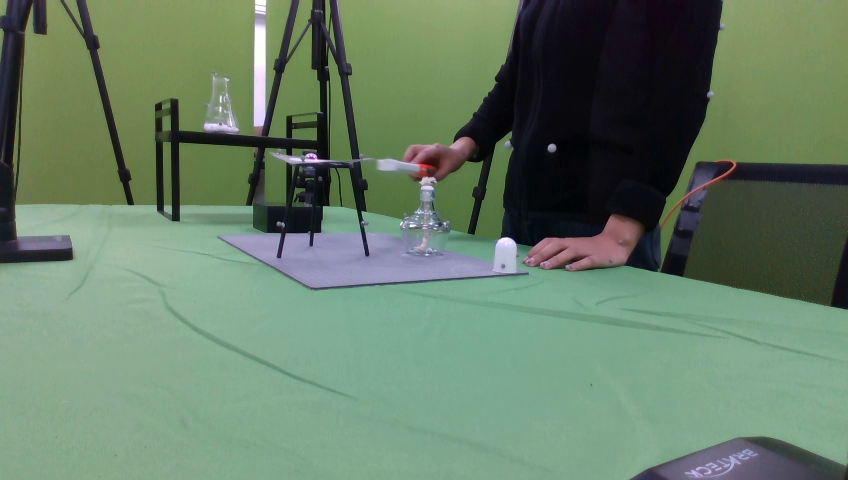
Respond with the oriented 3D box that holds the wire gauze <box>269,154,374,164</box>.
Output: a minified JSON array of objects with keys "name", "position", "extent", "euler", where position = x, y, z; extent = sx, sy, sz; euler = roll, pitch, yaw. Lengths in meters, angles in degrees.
[{"name":"wire gauze","position":[-0.146,-0.114,0.860],"extent":[0.122,0.011,0.124],"euler":[-2,9,-28]}]

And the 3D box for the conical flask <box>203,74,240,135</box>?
[{"name":"conical flask","position":[-0.425,-0.284,1.271],"extent":[0.075,0.122,0.075],"euler":[3,7,0]}]

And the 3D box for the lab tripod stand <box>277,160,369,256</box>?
[{"name":"lab tripod stand","position":[-0.150,-0.046,0.861],"extent":[0.148,0.131,0.148],"euler":[3,9,0]}]

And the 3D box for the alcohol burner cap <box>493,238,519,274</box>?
[{"name":"alcohol burner cap","position":[0.107,0.021,0.785],"extent":[0.034,0.048,0.034],"euler":[0,8,0]}]

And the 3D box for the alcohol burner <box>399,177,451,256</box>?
[{"name":"alcohol burner","position":[0.003,-0.035,0.908],"extent":[0.078,0.119,0.078],"euler":[4,8,0]}]

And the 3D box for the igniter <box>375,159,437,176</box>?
[{"name":"igniter","position":[-0.025,-0.129,1.087],"extent":[0.057,0.025,0.277],"euler":[3,5,16]}]
